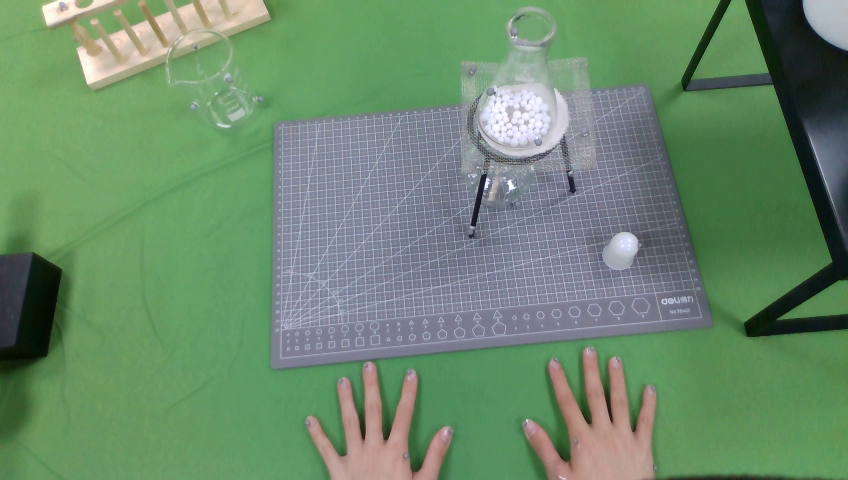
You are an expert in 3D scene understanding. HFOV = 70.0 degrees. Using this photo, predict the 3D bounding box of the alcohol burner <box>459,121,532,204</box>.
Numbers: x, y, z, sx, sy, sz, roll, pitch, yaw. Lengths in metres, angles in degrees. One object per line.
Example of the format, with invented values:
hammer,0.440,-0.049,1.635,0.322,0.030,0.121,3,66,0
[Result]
alcohol burner,0.076,-0.087,0.632,0.078,0.120,0.077,0,67,1

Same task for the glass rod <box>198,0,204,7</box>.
glass rod,-0.288,-0.348,0.704,0.008,0.201,0.008,1,65,-1

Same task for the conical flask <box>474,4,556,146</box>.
conical flask,0.080,-0.139,0.506,0.075,0.123,0.075,-1,67,3

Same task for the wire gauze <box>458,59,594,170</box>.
wire gauze,0.092,-0.120,0.562,0.121,0.011,0.124,0,66,1

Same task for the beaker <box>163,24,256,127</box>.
beaker,-0.244,-0.182,0.699,0.073,0.101,0.084,40,75,18

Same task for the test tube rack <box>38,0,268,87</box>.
test tube rack,-0.329,-0.286,0.752,0.242,0.086,0.066,-24,68,-7

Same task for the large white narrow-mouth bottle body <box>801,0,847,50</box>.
large white narrow-mouth bottle body,0.372,-0.238,0.442,0.102,0.196,0.101,-1,66,2

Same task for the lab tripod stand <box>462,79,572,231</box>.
lab tripod stand,0.089,-0.090,0.621,0.148,0.132,0.147,-1,66,2

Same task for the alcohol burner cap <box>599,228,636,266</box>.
alcohol burner cap,0.202,0.004,0.626,0.034,0.048,0.033,-1,68,3
